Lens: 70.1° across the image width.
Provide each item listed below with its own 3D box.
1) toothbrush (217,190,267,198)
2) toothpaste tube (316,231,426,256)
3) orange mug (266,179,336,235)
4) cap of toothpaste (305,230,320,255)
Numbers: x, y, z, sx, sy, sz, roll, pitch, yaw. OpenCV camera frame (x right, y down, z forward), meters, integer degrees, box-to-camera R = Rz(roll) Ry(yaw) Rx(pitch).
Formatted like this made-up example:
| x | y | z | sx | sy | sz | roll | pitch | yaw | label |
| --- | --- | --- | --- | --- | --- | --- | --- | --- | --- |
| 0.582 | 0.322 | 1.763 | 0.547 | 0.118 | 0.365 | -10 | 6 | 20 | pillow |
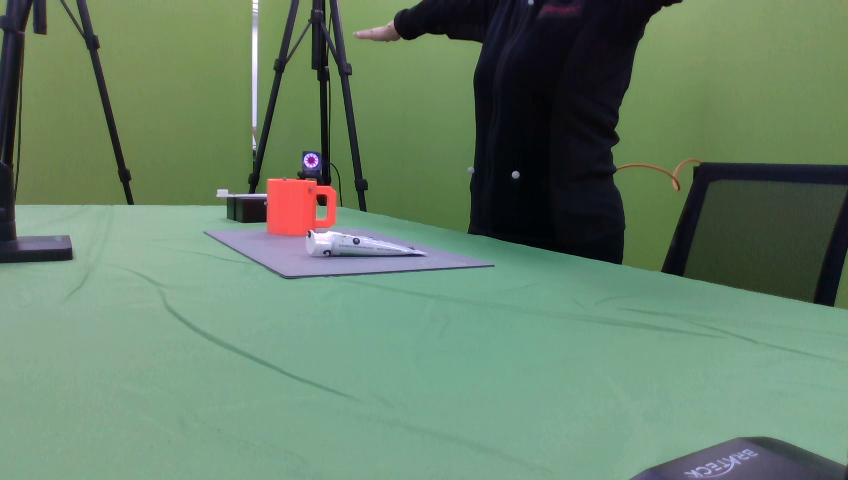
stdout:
| x | y | z | sx | sy | sz | roll | pitch | yaw | label |
| --- | --- | --- | --- | --- | --- | --- | --- | --- | --- |
| -0.343 | -0.096 | 1.282 | 0.183 | 0.016 | 0.014 | -1 | 4 | -27 | toothbrush |
| -0.080 | 0.009 | 0.870 | 0.166 | 0.034 | 0.055 | 4 | 11 | -26 | toothpaste tube |
| -0.222 | -0.062 | 1.094 | 0.127 | 0.101 | 0.083 | -5 | 10 | -22 | orange mug |
| -0.154 | 0.003 | 0.836 | 0.011 | 0.037 | 0.037 | -3 | 9 | -34 | cap of toothpaste |
